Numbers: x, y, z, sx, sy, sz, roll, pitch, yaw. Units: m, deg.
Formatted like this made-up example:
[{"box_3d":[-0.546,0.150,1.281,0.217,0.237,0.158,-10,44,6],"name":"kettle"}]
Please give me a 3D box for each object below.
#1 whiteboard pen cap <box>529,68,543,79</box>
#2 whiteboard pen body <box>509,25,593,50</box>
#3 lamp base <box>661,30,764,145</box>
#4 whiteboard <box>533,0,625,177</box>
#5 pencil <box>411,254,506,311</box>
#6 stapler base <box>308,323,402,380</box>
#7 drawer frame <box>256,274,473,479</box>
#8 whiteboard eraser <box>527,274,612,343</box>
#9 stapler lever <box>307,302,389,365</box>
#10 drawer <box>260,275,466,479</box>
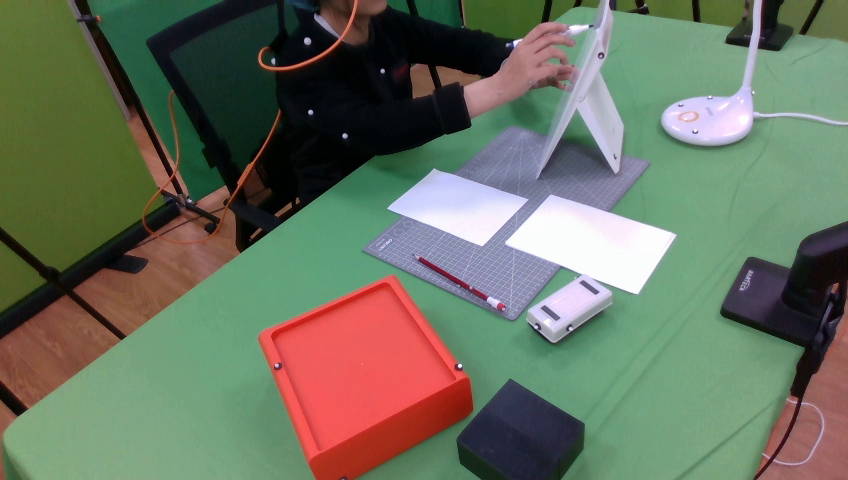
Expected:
[{"box_3d":[0.219,-0.326,1.181,0.018,0.018,0.033,23,15,32],"name":"whiteboard pen cap"},{"box_3d":[0.216,-0.348,1.034,0.140,0.017,0.017,-9,39,16],"name":"whiteboard pen body"},{"box_3d":[0.535,-0.287,1.096,0.179,0.181,0.159,-10,40,-4],"name":"lamp base"},{"box_3d":[0.321,-0.258,1.049,0.144,0.306,0.217,21,45,4],"name":"whiteboard"},{"box_3d":[0.047,0.060,0.906,0.012,0.012,0.192,-37,46,-29],"name":"pencil"},{"box_3d":[-0.094,0.142,0.812,0.131,0.024,0.041,-25,29,-17],"name":"stapler base"},{"box_3d":[-0.078,0.163,0.756,0.202,0.083,0.211,-23,43,-17],"name":"drawer frame"},{"box_3d":[0.198,0.094,0.820,0.113,0.042,0.055,-29,43,-22],"name":"whiteboard eraser"},{"box_3d":[-0.101,0.121,0.799,0.118,0.040,0.026,-25,29,-17],"name":"stapler lever"},{"box_3d":[-0.080,0.162,0.760,0.195,0.073,0.210,-22,42,-16],"name":"drawer"}]
